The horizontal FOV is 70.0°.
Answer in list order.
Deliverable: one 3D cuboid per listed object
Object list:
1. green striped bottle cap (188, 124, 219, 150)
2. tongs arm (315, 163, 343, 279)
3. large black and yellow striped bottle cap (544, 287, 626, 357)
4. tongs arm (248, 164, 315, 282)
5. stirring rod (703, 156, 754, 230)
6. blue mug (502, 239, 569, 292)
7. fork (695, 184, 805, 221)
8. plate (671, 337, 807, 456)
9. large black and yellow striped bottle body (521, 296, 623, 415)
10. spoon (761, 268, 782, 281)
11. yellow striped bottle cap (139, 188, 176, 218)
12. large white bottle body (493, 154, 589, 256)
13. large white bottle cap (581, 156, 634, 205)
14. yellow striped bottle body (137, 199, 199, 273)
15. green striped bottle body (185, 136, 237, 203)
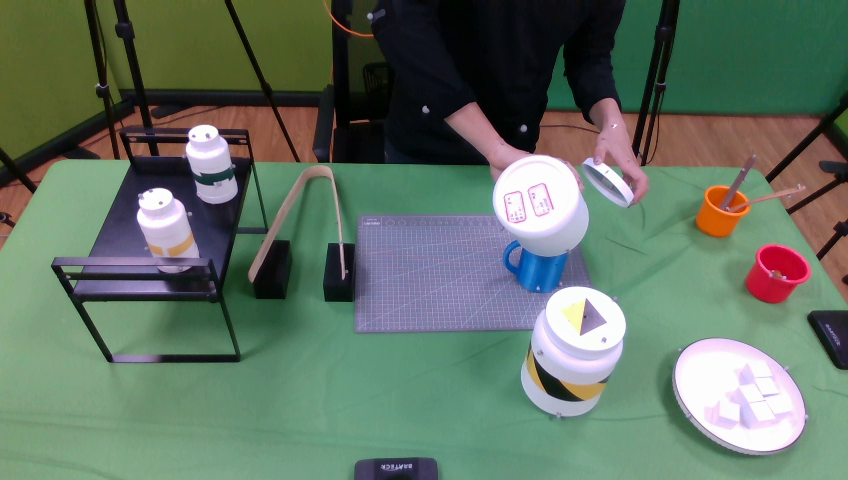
[{"bbox_3d":[-0.339,-0.158,0.931,0.044,0.020,0.044,2,48,-3],"label":"green striped bottle cap"},{"bbox_3d":[-0.187,-0.049,1.170,0.051,0.026,0.382,-6,35,-6],"label":"tongs arm"},{"bbox_3d":[0.232,0.116,0.876,0.115,0.019,0.114,2,46,-1],"label":"large black and yellow striped bottle cap"},{"bbox_3d":[-0.269,-0.047,1.166,0.028,0.028,0.385,-1,34,7],"label":"tongs arm"},{"bbox_3d":[0.631,-0.097,1.258,0.014,0.006,0.176,33,95,29],"label":"stirring rod"},{"bbox_3d":[0.203,0.031,1.121,0.116,0.106,0.082,5,46,1],"label":"blue mug"},{"bbox_3d":[0.657,-0.075,1.230,0.207,0.019,0.028,-23,34,37],"label":"fork"},{"bbox_3d":[0.504,0.253,0.984,0.208,0.039,0.206,2,46,-2],"label":"plate"},{"bbox_3d":[0.228,0.173,0.938,0.131,0.185,0.130,2,47,-2],"label":"large black and yellow striped bottle body"},{"bbox_3d":[0.638,0.060,1.105,0.041,0.021,0.194,38,11,24],"label":"spoon"},{"bbox_3d":[-0.363,-0.050,0.826,0.044,0.019,0.044,0,47,0],"label":"yellow striped bottle cap"},{"bbox_3d":[0.195,-0.047,0.976,0.130,0.185,0.130,-5,75,20],"label":"large white bottle body"},{"bbox_3d":[0.336,-0.109,1.113,0.018,0.115,0.114,-46,57,5],"label":"large white bottle cap"},{"bbox_3d":[-0.366,-0.014,0.863,0.063,0.121,0.062,2,46,-2],"label":"yellow striped bottle body"},{"bbox_3d":[-0.341,-0.121,0.968,0.063,0.120,0.063,2,46,-2],"label":"green striped bottle body"}]
